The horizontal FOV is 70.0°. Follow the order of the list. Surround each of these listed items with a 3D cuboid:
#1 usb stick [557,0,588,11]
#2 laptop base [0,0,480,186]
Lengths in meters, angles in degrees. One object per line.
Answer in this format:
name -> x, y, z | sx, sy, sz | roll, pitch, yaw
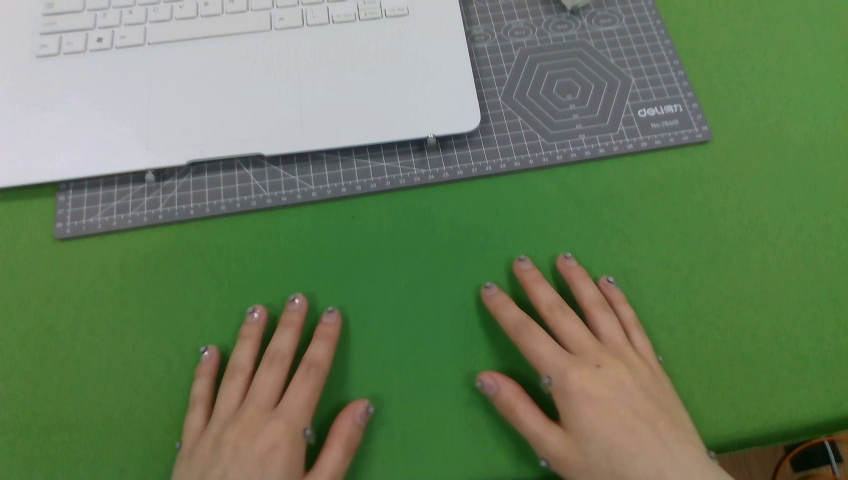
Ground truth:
usb stick -> 0.106, -0.210, 0.473 | 0.021, 0.027, 0.058 | -27, 66, -10
laptop base -> -0.150, -0.158, 0.457 | 0.354, 0.023, 0.233 | -7, 69, -3
